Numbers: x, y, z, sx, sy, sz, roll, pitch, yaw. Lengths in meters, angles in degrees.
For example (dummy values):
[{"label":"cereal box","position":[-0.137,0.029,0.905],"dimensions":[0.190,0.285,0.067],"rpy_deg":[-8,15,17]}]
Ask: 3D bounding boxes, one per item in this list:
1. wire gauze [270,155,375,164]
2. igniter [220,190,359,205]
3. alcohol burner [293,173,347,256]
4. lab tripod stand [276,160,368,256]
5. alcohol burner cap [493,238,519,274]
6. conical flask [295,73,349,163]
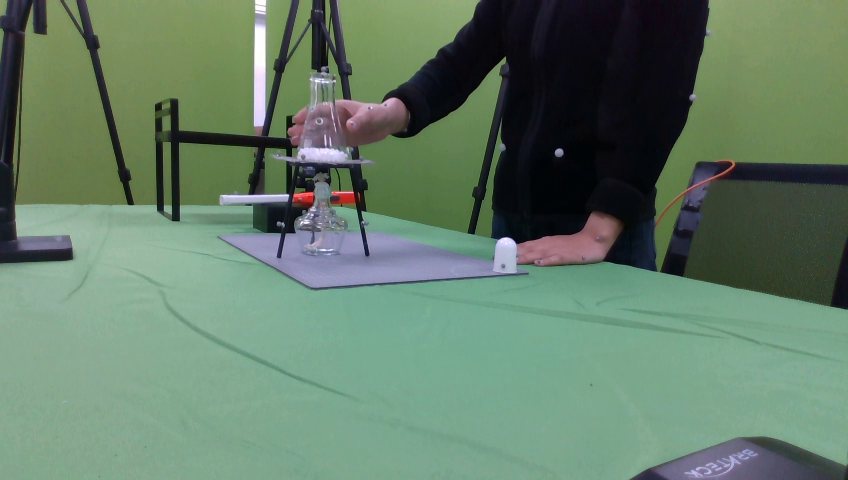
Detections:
[{"label":"wire gauze","position":[-0.146,-0.112,0.860],"dimensions":[0.122,0.011,0.124],"rpy_deg":[0,6,-29]},{"label":"igniter","position":[-0.246,-0.081,1.158],"dimensions":[0.278,0.025,0.057],"rpy_deg":[-5,7,-33]},{"label":"alcohol burner","position":[-0.148,-0.037,0.868],"dimensions":[0.078,0.119,0.078],"rpy_deg":[4,8,0]},{"label":"lab tripod stand","position":[-0.149,-0.046,0.861],"dimensions":[0.148,0.131,0.148],"rpy_deg":[4,9,0]},{"label":"alcohol burner cap","position":[0.107,0.021,0.785],"dimensions":[0.034,0.048,0.034],"rpy_deg":[0,8,0]},{"label":"conical flask","position":[-0.143,-0.170,0.850],"dimensions":[0.075,0.122,0.075],"rpy_deg":[1,9,0]}]
